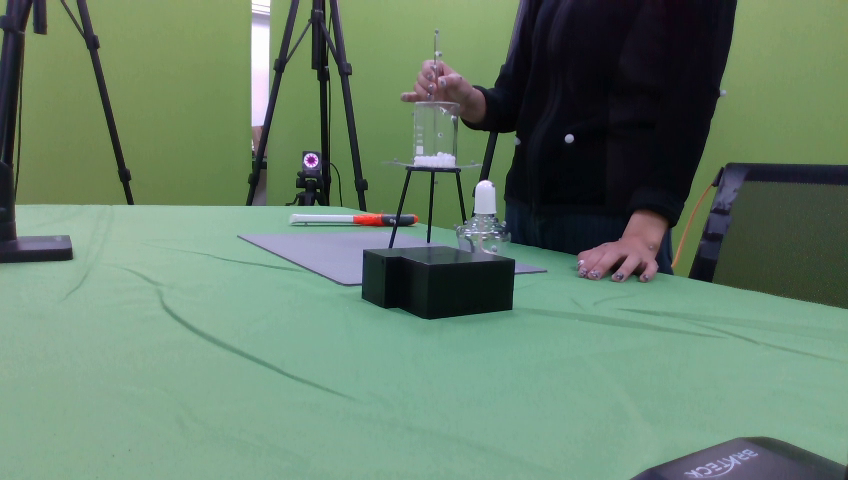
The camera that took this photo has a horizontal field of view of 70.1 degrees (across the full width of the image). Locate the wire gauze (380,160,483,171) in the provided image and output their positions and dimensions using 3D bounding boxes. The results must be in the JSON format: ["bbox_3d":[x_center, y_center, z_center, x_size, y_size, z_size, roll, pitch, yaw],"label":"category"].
[{"bbox_3d":[0.011,-0.119,0.951,0.122,0.011,0.124,-5,12,-32],"label":"wire gauze"}]

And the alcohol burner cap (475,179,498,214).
[{"bbox_3d":[0.086,-0.061,0.833,0.034,0.048,0.034,-1,11,0],"label":"alcohol burner cap"}]

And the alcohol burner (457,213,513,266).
[{"bbox_3d":[0.084,-0.025,0.837,0.078,0.119,0.078,0,8,0],"label":"alcohol burner"}]

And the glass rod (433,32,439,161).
[{"bbox_3d":[0.019,-0.225,0.958,0.008,0.199,0.008,1,11,0],"label":"glass rod"}]

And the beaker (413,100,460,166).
[{"bbox_3d":[0.020,-0.167,0.953,0.073,0.100,0.084,5,9,26],"label":"beaker"}]

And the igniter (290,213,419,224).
[{"bbox_3d":[-0.143,-0.046,1.288,0.278,0.025,0.057,-1,-3,-24],"label":"igniter"}]

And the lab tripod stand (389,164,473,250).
[{"bbox_3d":[0.011,-0.054,0.960,0.148,0.131,0.148,2,9,0],"label":"lab tripod stand"}]
